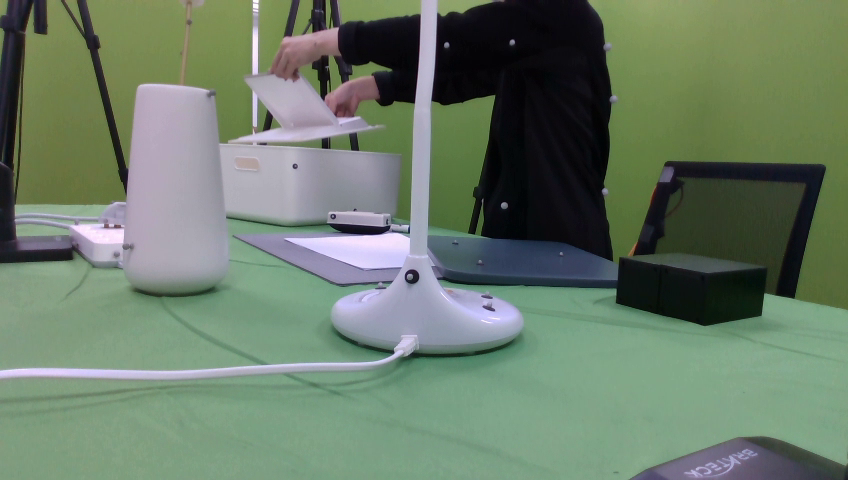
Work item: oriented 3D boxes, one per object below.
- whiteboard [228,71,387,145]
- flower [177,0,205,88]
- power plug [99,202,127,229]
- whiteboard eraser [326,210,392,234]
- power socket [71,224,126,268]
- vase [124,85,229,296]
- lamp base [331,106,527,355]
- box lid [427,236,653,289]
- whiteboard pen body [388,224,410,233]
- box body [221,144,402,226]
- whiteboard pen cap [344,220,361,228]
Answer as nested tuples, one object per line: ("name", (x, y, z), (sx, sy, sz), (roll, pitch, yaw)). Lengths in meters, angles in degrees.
("whiteboard", (-0.263, -0.306, 1.361), (0.216, 0.144, 0.307), (4, 17, 32))
("flower", (-0.243, -0.131, 0.609), (0.044, 0.361, 0.038), (-5, -12, 11))
("power plug", (-0.415, -0.026, 0.848), (0.073, 0.052, 0.035), (6, 5, -28))
("whiteboard eraser", (-0.121, -0.034, 1.131), (0.112, 0.042, 0.056), (4, 8, 13))
("power socket", (-0.409, 0.004, 0.793), (0.072, 0.032, 0.225), (-2, 8, -37))
("vase", (-0.244, -0.047, 0.598), (0.098, 0.200, 0.098), (3, 9, 0))
("lamp base", (0.006, -0.012, 0.478), (0.161, 0.180, 0.179), (2, 10, 2))
("box lid", (0.139, 0.028, 0.886), (0.264, 0.015, 0.371), (2, 7, -6))
("whiteboard pen body", (-0.088, -0.027, 1.214), (0.140, 0.017, 0.017), (5, 8, 18))
("box body", (-0.254, -0.129, 1.379), (0.253, 0.160, 0.366), (8, 9, 36))
("whiteboard pen cap", (-0.144, -0.032, 1.230), (0.033, 0.018, 0.018), (6, 8, 17))
